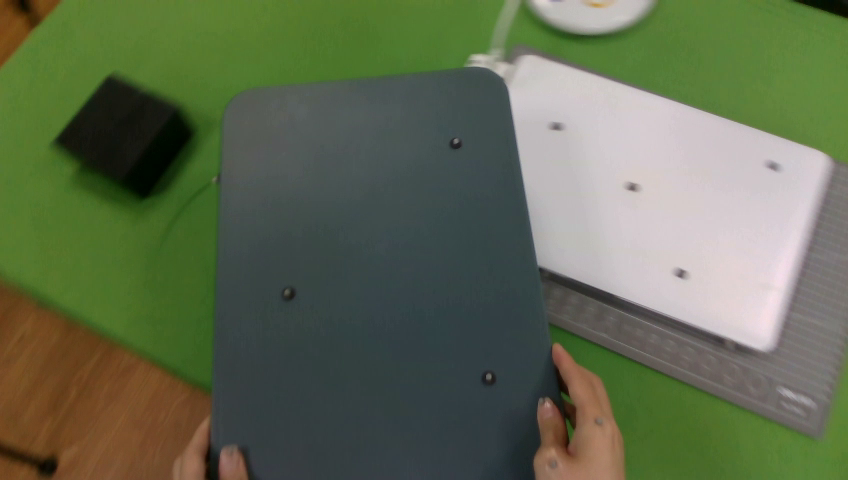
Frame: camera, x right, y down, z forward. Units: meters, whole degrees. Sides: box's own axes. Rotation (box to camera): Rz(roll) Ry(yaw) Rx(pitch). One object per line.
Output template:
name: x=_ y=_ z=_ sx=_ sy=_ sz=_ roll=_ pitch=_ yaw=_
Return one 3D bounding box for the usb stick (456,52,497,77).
usb stick: x=0.066 y=-0.191 z=0.695 sx=0.059 sy=0.027 sz=0.021 roll=26 pitch=67 yaw=9

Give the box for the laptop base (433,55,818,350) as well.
laptop base: x=0.213 y=-0.053 z=0.648 sx=0.353 sy=0.023 sz=0.234 roll=21 pitch=75 yaw=11

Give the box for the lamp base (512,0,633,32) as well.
lamp base: x=0.175 y=-0.363 z=0.684 sx=0.161 sy=0.181 sz=0.177 roll=-14 pitch=66 yaw=-3

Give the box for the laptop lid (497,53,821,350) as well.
laptop lid: x=0.211 y=-0.055 z=0.636 sx=0.355 sy=0.013 sz=0.241 roll=23 pitch=74 yaw=11

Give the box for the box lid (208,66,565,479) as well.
box lid: x=-0.041 y=0.019 z=0.498 sx=0.263 sy=0.015 sz=0.368 roll=-6 pitch=69 yaw=-2
